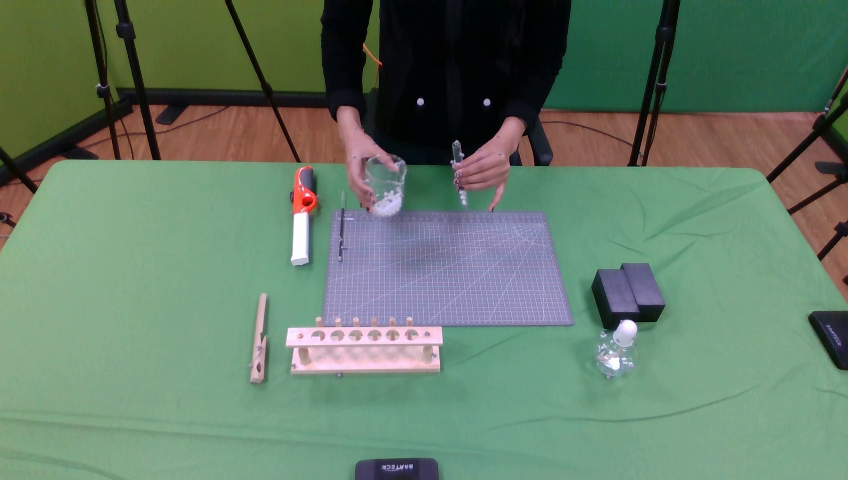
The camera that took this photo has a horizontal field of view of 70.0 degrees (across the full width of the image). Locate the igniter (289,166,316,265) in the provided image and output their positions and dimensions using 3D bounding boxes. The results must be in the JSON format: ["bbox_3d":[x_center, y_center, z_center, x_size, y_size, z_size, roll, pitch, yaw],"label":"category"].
[{"bbox_3d":[-0.248,-0.058,1.233,0.057,0.025,0.274,-9,47,1],"label":"igniter"}]

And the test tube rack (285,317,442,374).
[{"bbox_3d":[-0.095,0.166,0.988,0.242,0.085,0.066,0,46,-4],"label":"test tube rack"}]

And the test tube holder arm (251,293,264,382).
[{"bbox_3d":[-0.281,0.160,1.025,0.013,0.015,0.177,23,36,-32],"label":"test tube holder arm"}]

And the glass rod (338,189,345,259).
[{"bbox_3d":[-0.166,-0.037,1.226,0.008,0.008,0.198,-1,47,-4],"label":"glass rod"}]

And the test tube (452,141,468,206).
[{"bbox_3d":[0.067,-0.119,1.115,0.017,0.151,0.017,-6,46,6],"label":"test tube"}]

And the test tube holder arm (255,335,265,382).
[{"bbox_3d":[-0.270,0.193,0.997,0.010,0.015,0.087,24,36,-32],"label":"test tube holder arm"}]

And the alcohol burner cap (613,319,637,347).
[{"bbox_3d":[0.323,0.146,0.966,0.034,0.048,0.033,-1,52,2],"label":"alcohol burner cap"}]

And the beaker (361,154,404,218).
[{"bbox_3d":[-0.074,-0.094,1.115,0.074,0.101,0.083,-32,59,-29],"label":"beaker"}]

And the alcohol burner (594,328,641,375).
[{"bbox_3d":[0.322,0.170,0.994,0.078,0.119,0.077,3,48,-3],"label":"alcohol burner"}]
